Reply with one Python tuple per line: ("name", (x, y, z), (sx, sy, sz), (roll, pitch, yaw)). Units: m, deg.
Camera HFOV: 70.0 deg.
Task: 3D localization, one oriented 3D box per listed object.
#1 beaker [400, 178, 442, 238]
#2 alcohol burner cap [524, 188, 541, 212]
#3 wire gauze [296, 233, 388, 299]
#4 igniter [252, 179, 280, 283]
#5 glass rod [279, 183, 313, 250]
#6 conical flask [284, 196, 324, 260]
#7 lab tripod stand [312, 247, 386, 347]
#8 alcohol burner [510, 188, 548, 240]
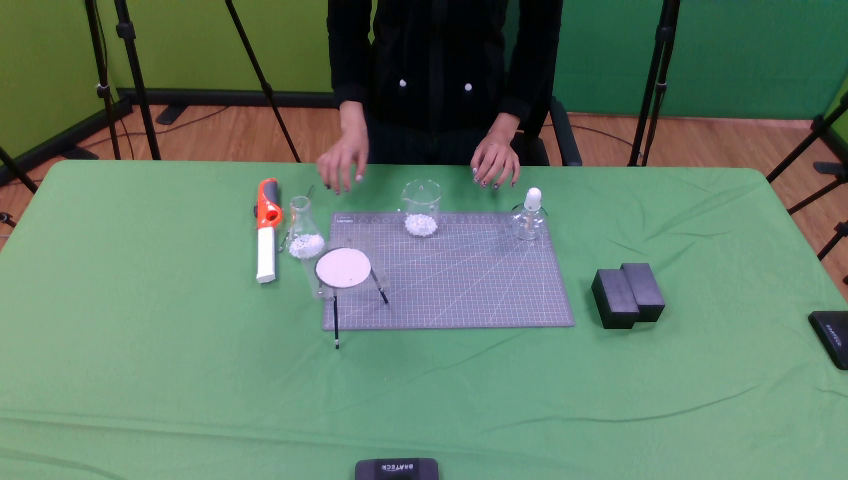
("beaker", (-0.008, -0.059, 1.200), (0.084, 0.101, 0.073), (-14, 48, -17))
("alcohol burner cap", (0.212, -0.081, 1.177), (0.034, 0.048, 0.033), (-2, 54, 2))
("wire gauze", (-0.133, 0.041, 0.977), (0.125, 0.011, 0.120), (-12, 47, -16))
("igniter", (-0.312, -0.027, 1.197), (0.057, 0.025, 0.274), (-12, 47, -1))
("glass rod", (-0.260, -0.052, 1.239), (0.008, 0.008, 0.198), (10, 47, 6))
("conical flask", (-0.230, -0.026, 1.137), (0.075, 0.122, 0.075), (2, 45, -2))
("lab tripod stand", (-0.134, 0.085, 1.028), (0.148, 0.132, 0.147), (2, 45, -1))
("alcohol burner", (0.211, -0.057, 1.204), (0.078, 0.120, 0.077), (1, 47, -1))
